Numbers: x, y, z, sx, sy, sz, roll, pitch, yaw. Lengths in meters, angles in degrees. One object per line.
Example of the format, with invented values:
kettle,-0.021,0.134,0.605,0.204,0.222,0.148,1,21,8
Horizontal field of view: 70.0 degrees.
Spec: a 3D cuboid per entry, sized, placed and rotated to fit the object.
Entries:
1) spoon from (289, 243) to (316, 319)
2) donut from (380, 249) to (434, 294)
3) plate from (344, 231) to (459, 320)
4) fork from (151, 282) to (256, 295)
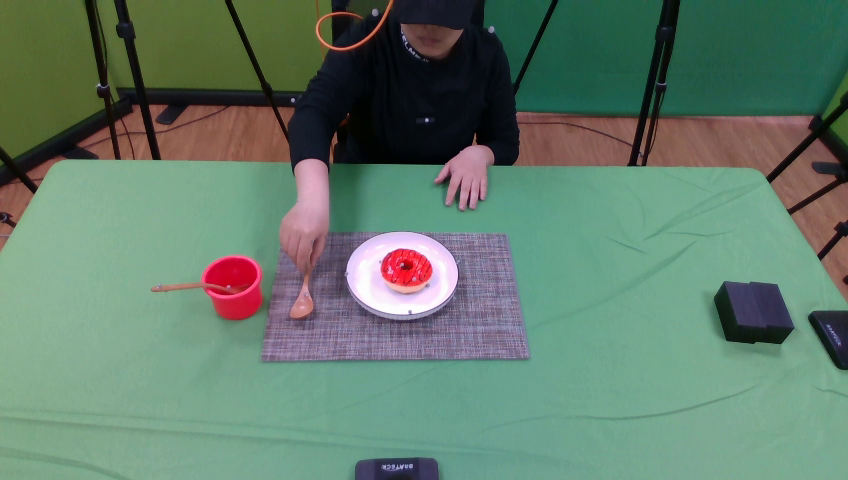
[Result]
spoon,-0.215,0.071,1.108,0.041,0.022,0.192,-10,45,10
donut,-0.032,0.056,1.111,0.099,0.048,0.098,4,43,-3
plate,-0.042,0.068,1.115,0.209,0.038,0.208,2,46,-2
fork,-0.361,0.080,1.007,0.028,0.018,0.208,35,11,27
